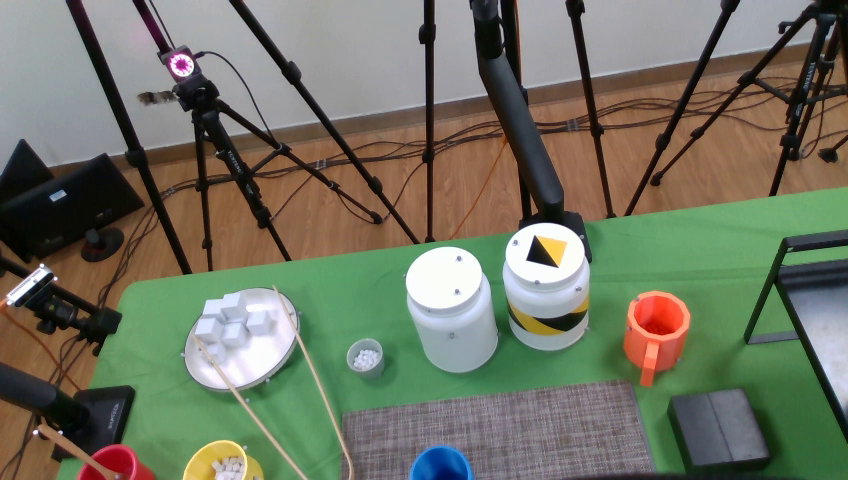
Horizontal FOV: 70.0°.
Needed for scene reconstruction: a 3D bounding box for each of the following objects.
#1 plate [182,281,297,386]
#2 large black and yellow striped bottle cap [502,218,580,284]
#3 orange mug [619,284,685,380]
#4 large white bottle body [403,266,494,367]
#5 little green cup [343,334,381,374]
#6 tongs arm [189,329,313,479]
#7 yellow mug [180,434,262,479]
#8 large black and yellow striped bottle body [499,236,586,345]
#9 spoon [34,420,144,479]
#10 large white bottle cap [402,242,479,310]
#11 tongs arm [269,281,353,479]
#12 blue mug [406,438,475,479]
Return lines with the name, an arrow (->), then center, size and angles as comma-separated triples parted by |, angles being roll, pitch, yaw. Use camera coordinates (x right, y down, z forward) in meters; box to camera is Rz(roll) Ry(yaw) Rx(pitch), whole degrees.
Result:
plate -> -0.325, 0.168, 1.084 | 0.207, 0.039, 0.205 | -6, 51, 8
large black and yellow striped bottle cap -> 0.172, 0.014, 0.891 | 0.115, 0.019, 0.114 | -5, 51, 7
orange mug -> 0.340, 0.143, 0.916 | 0.083, 0.102, 0.125 | 10, 50, 21
large white bottle body -> 0.040, 0.104, 0.958 | 0.130, 0.186, 0.129 | -6, 50, 8
little green cup -> -0.101, 0.193, 1.013 | 0.061, 0.039, 0.061 | -6, 52, 8
tongs arm -> -0.260, 0.259, 0.969 | 0.051, 0.027, 0.381 | -37, 60, -21
yellow mug -> -0.313, 0.363, 0.904 | 0.099, 0.064, 0.130 | 25, 62, 28
large black and yellow striped bottle body -> 0.187, 0.068, 0.955 | 0.130, 0.186, 0.129 | -6, 50, 8
spoon -> -0.507, 0.333, 0.921 | 0.194, 0.021, 0.041 | 43, 60, -12
large white bottle cap -> 0.024, 0.051, 0.892 | 0.115, 0.018, 0.113 | -7, 50, 8
tongs arm -> -0.192, 0.216, 0.994 | 0.028, 0.028, 0.383 | -22, 56, -16
blue mug -> 0.041, 0.332, 0.818 | 0.116, 0.107, 0.082 | 13, 55, 22
